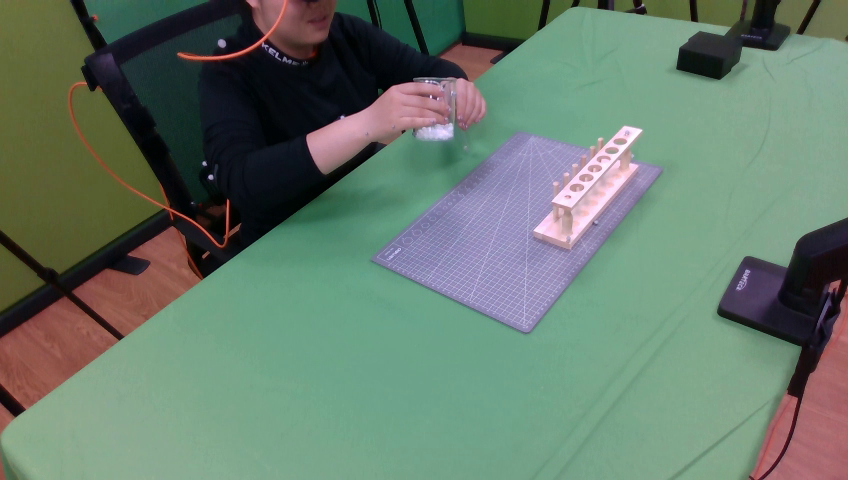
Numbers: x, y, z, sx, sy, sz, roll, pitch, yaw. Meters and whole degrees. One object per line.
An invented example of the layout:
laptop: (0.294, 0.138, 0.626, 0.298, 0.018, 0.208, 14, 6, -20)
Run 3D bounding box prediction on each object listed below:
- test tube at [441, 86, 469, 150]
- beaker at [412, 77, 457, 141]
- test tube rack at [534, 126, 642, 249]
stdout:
test tube: (0.059, -0.220, 1.105, 0.017, 0.151, 0.017, -10, 52, 14)
beaker: (0.018, -0.218, 1.012, 0.073, 0.100, 0.084, 5, 12, 17)
test tube rack: (0.271, -0.095, 0.990, 0.066, 0.085, 0.243, 23, 49, 33)
